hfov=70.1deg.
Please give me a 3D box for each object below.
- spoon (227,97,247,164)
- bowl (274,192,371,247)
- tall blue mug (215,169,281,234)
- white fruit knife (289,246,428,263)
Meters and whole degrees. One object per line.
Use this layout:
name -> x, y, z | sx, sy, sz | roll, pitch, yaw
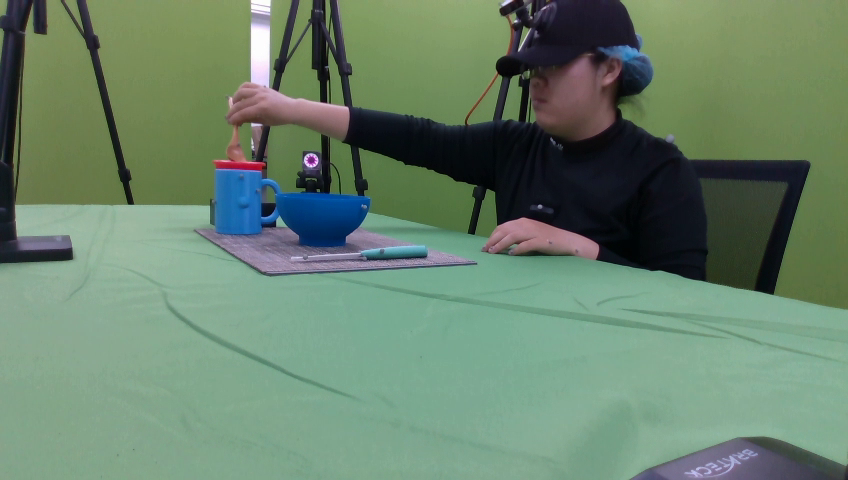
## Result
spoon -> -0.374, -0.220, 1.202 | 0.042, 0.193, 0.021 | 18, -44, -39
bowl -> -0.161, -0.033, 0.958 | 0.151, 0.077, 0.151 | 3, 8, 0
tall blue mug -> -0.313, -0.069, 1.061 | 0.077, 0.108, 0.108 | 6, 8, 31
white fruit knife -> -0.082, 0.022, 0.822 | 0.208, 0.016, 0.027 | -3, -20, -30
